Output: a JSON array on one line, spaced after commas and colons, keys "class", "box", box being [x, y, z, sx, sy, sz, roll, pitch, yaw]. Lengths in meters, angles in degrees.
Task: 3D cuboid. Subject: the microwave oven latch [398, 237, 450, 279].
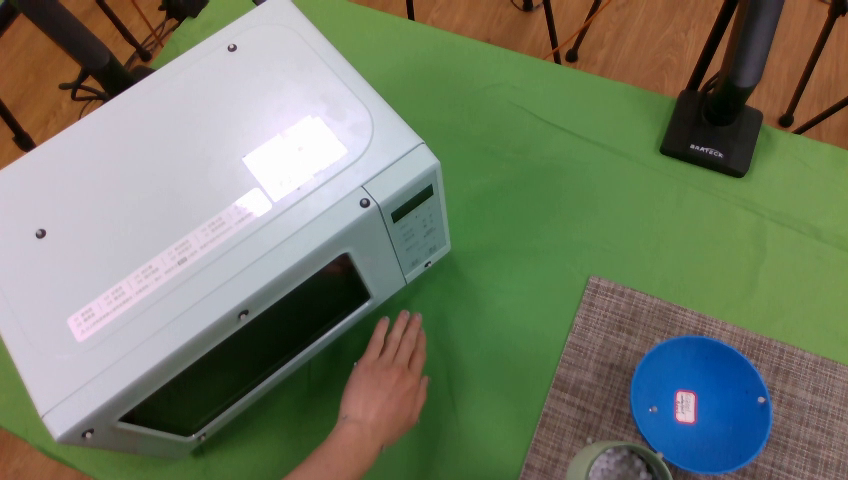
[{"class": "microwave oven latch", "box": [-0.002, 0.017, 0.801, 0.079, 0.030, 0.030, -36, 69, -9]}]

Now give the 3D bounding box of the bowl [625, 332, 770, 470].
[{"class": "bowl", "box": [0.302, 0.188, 0.696, 0.151, 0.077, 0.150, -2, 67, 5]}]

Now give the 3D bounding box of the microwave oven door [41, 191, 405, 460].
[{"class": "microwave oven door", "box": [-0.184, 0.106, 0.669, 0.356, 0.246, 0.039, -37, 68, -10]}]

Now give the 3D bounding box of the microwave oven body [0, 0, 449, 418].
[{"class": "microwave oven body", "box": [-0.240, -0.019, 0.731, 0.441, 0.262, 0.323, -38, 70, -10]}]

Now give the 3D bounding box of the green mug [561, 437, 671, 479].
[{"class": "green mug", "box": [0.195, 0.247, 0.578, 0.092, 0.106, 0.124, -42, 71, -11]}]
